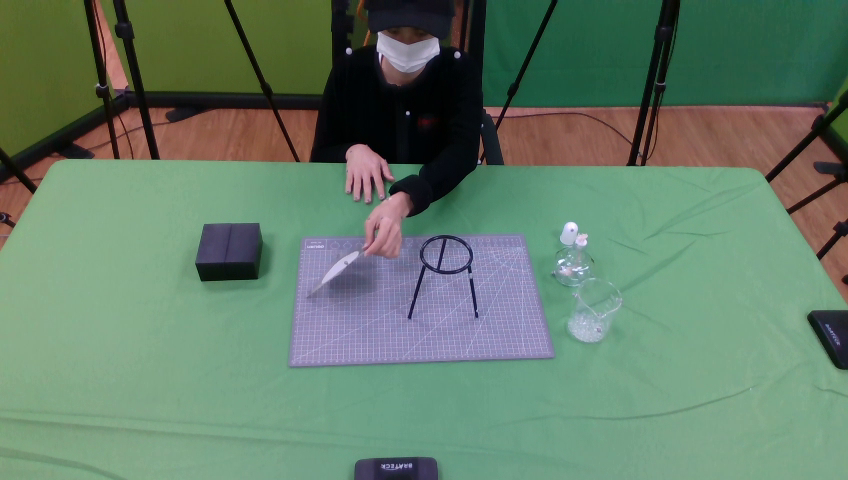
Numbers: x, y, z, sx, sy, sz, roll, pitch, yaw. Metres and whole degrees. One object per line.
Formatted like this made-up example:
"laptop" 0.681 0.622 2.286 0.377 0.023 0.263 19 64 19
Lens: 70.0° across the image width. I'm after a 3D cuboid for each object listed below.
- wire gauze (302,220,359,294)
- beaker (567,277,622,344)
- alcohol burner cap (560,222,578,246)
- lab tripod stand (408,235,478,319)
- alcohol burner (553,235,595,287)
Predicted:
"wire gauze" -0.165 0.033 1.090 0.011 0.125 0.121 40 30 -17
"beaker" 0.291 0.127 1.045 0.074 0.101 0.083 7 47 4
"alcohol burner cap" 0.295 -0.015 1.223 0.034 0.048 0.033 2 47 -2
"lab tripod stand" 0.032 0.065 1.057 0.148 0.132 0.147 1 45 -1
"alcohol burner" 0.282 0.032 1.127 0.078 0.120 0.077 1 48 -1
